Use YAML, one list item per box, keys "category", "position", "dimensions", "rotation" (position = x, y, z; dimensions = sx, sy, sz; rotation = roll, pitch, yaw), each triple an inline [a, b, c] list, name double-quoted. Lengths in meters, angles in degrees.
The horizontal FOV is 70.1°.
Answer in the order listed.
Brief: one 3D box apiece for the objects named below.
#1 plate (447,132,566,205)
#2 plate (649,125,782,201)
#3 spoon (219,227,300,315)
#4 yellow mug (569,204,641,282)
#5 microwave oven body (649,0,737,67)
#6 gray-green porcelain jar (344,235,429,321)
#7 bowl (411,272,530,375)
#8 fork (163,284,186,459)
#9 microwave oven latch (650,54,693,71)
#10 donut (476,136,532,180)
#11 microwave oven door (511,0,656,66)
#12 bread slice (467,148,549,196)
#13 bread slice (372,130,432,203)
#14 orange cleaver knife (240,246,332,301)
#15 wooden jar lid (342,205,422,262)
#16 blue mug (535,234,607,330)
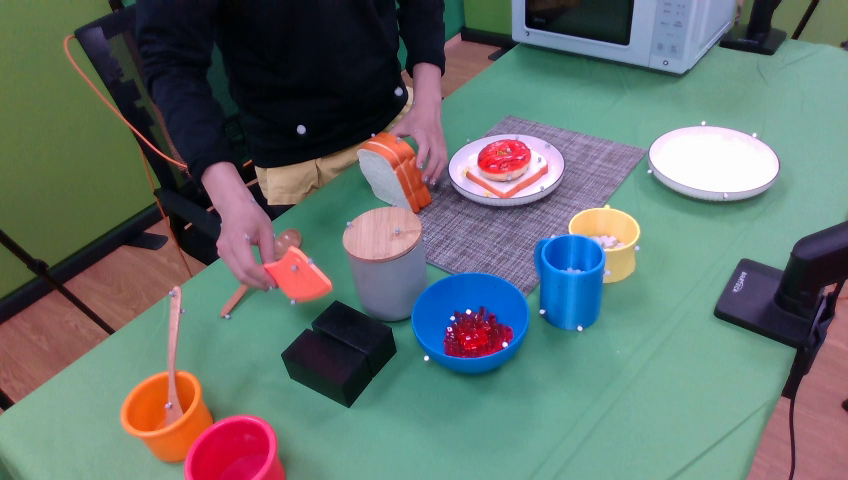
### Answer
- category: "plate"
  position: [0.146, -0.124, 1.076]
  dimensions: [0.209, 0.038, 0.208]
  rotation: [-4, 41, 4]
- category: "plate"
  position: [0.493, -0.127, 1.036]
  dimensions: [0.207, 0.039, 0.206]
  rotation: [-4, 41, 4]
- category: "spoon"
  position: [-0.260, 0.046, 0.954]
  dimensions: [0.041, 0.021, 0.194]
  rotation: [27, 49, 10]
- category: "yellow mug"
  position: [0.268, -0.005, 0.904]
  dimensions: [0.099, 0.064, 0.130]
  rotation: [7, 41, 15]
- category: "microwave oven body"
  position: [0.475, -0.602, 1.411]
  dimensions: [0.438, 0.261, 0.327]
  rotation: [23, 50, 32]
- category: "gray-green porcelain jar"
  position: [-0.049, 0.042, 0.849]
  dimensions: [0.106, 0.127, 0.105]
  rotation: [-4, 41, 4]
- category: "bowl"
  position: [0.061, 0.120, 0.780]
  dimensions: [0.151, 0.077, 0.150]
  rotation: [-4, 40, 4]
- category: "fork"
  position: [-0.302, 0.157, 0.733]
  dimensions: [0.028, 0.019, 0.207]
  rotation: [-3, 84, 14]
- category: "microwave oven latch"
  position: [0.531, -0.386, 1.301]
  dimensions: [0.078, 0.029, 0.030]
  rotation: [26, 51, 33]
- category: "donut"
  position: [0.139, -0.146, 1.058]
  dimensions: [0.099, 0.048, 0.098]
  rotation: [-6, 41, 6]
- category: "microwave oven door"
  position: [0.350, -0.539, 1.348]
  dimensions: [0.353, 0.245, 0.039]
  rotation: [24, 50, 31]
- category: "bread slice"
  position: [0.156, -0.127, 1.085]
  dimensions: [0.132, 0.019, 0.104]
  rotation: [-35, 48, -23]
- category: "bread slice"
  position: [-0.041, -0.127, 1.039]
  dimensions: [0.106, 0.135, 0.018]
  rotation: [28, 61, 33]
- category: "orange cleaver knife"
  position: [-0.181, 0.049, 0.772]
  dimensions: [0.012, 0.077, 0.210]
  rotation: [-46, 19, -32]
- category: "wooden jar lid"
  position: [-0.055, -0.005, 0.808]
  dimensions: [0.108, 0.021, 0.108]
  rotation: [-6, 40, 6]
- category: "blue mug"
  position: [0.191, 0.048, 0.824]
  dimensions: [0.082, 0.106, 0.115]
  rotation: [-26, 44, -20]
